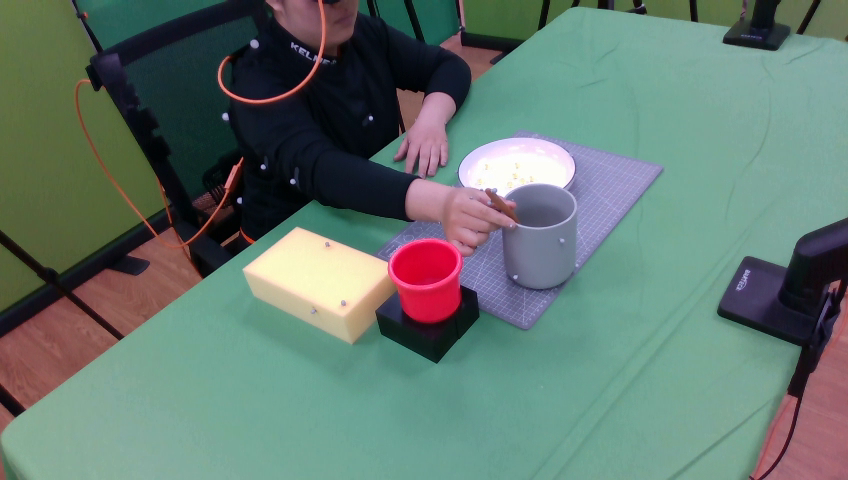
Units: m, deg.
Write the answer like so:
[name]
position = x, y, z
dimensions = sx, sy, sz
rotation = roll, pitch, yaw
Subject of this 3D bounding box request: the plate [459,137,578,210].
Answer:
[plate]
position = 0.166, -0.113, 1.069
dimensions = 0.207, 0.039, 0.206
rotation = -5, 40, 5

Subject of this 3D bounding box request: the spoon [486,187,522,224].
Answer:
[spoon]
position = 0.127, -0.022, 0.835
dimensions = 0.041, 0.195, 0.021
rotation = 20, 71, 40

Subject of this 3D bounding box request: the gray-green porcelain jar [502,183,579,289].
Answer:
[gray-green porcelain jar]
position = 0.167, -0.001, 0.866
dimensions = 0.106, 0.127, 0.105
rotation = -5, 40, 5

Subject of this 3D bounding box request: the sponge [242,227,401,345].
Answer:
[sponge]
position = -0.153, 0.063, 0.907
dimensions = 0.205, 0.061, 0.118
rotation = 19, 48, 30
